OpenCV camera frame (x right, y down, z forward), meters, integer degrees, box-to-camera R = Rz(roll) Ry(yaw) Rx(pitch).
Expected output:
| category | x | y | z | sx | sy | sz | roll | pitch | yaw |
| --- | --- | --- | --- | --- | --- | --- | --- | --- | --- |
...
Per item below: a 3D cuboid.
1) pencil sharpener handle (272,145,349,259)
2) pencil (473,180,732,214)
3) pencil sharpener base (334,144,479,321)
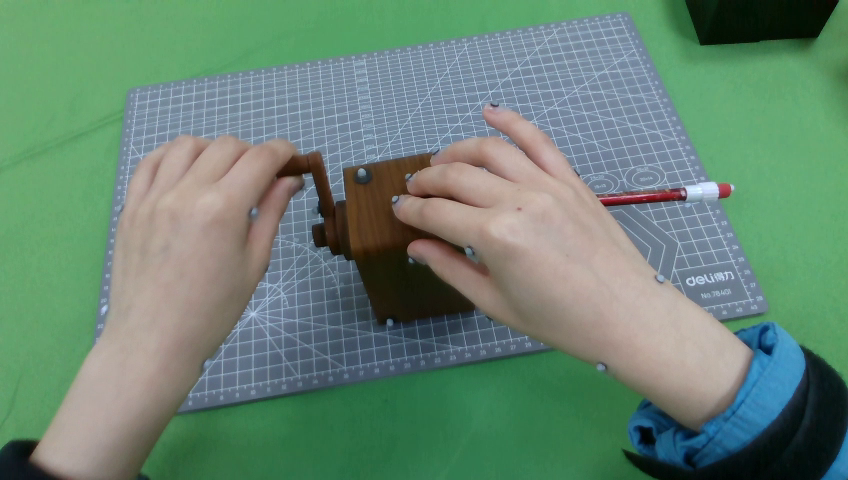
| category | x | y | z | sx | sy | sz | roll | pitch | yaw |
| --- | --- | --- | --- | --- | --- | --- | --- | --- | --- |
| pencil sharpener handle | -0.064 | -0.019 | 0.345 | 0.030 | 0.068 | 0.035 | -10 | 21 | -1 |
| pencil | 0.089 | -0.024 | 0.359 | 0.194 | 0.012 | 0.012 | -5 | 59 | -5 |
| pencil sharpener base | -0.009 | 0.000 | 0.376 | 0.077 | 0.108 | 0.061 | -10 | 60 | -1 |
